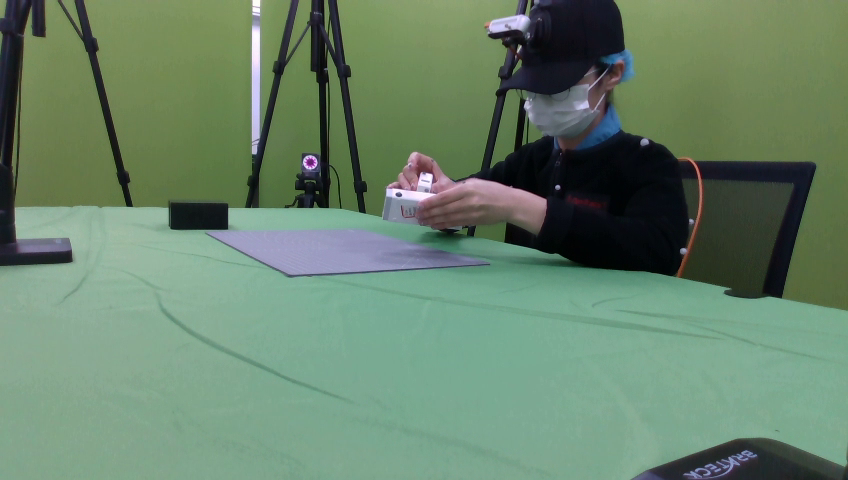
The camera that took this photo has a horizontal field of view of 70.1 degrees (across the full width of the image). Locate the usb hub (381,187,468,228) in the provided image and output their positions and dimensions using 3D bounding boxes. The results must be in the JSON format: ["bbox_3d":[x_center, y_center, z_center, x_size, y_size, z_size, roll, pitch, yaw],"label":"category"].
[{"bbox_3d":[0.000,-0.050,0.916,0.125,0.049,0.025,6,40,-9],"label":"usb hub"}]

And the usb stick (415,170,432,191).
[{"bbox_3d":[-0.002,-0.083,0.933,0.021,0.027,0.059,12,39,0],"label":"usb stick"}]
